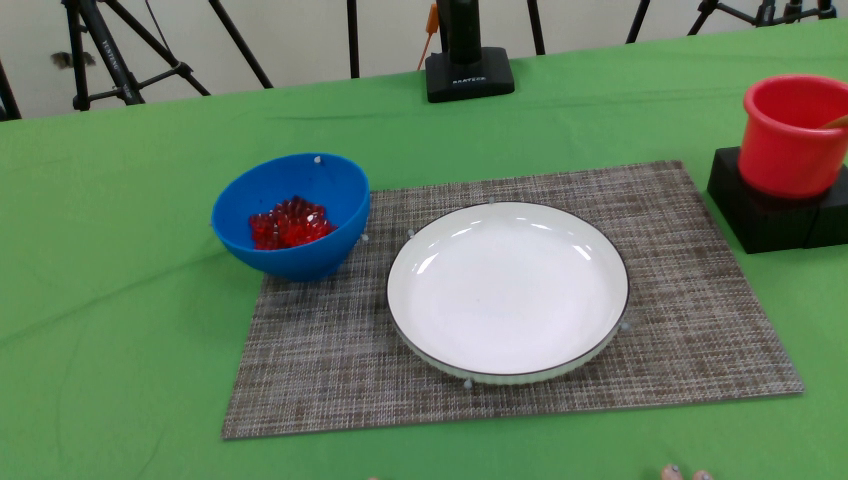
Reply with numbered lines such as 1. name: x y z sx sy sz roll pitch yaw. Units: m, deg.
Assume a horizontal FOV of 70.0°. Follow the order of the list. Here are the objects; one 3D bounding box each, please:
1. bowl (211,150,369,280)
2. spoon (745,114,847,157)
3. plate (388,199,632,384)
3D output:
1. bowl: -0.121 -0.013 0.597 0.151 0.077 0.150 -5 43 5
2. spoon: 0.335 -0.091 0.484 0.041 0.193 0.021 -21 90 -12
3. plate: 0.074 0.042 0.534 0.207 0.039 0.205 -5 43 5
